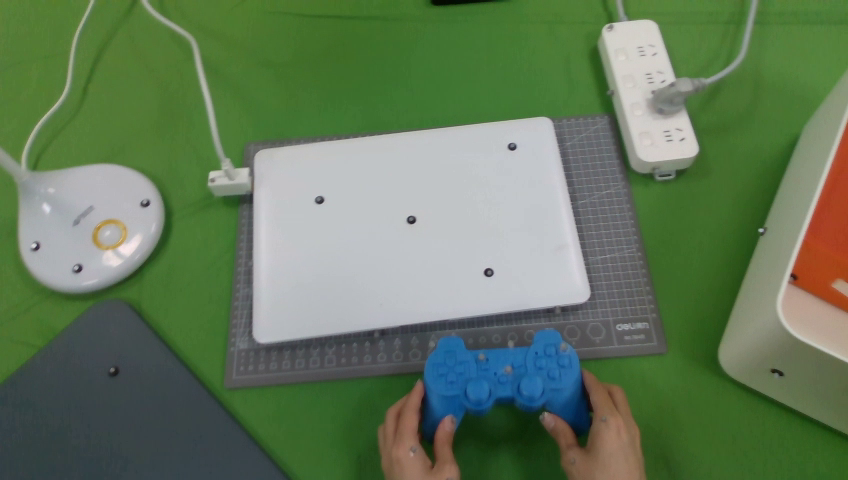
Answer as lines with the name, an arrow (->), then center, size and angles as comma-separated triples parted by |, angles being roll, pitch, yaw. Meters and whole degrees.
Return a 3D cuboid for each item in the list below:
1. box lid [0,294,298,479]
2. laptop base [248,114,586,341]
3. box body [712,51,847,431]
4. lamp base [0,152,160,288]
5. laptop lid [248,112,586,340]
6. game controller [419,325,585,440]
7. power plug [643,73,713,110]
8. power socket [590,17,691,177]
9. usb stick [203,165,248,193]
box lid -> -0.296, 0.244, 0.573 | 0.369, 0.015, 0.263 | 39, 72, 17
laptop base -> -0.018, -0.021, 0.677 | 0.354, 0.023, 0.233 | -7, 69, -1
box body -> 0.461, 0.004, 0.567 | 0.253, 0.161, 0.362 | 26, 69, 13
lamp base -> -0.396, -0.057, 0.621 | 0.178, 0.182, 0.160 | 20, 67, 14
laptop lid -> -0.018, -0.024, 0.666 | 0.357, 0.013, 0.239 | -6, 68, 0
game controller -> 0.070, 0.130, 0.566 | 0.155, 0.052, 0.096 | -4, 62, 0
power plug -> 0.290, -0.165, 0.699 | 0.072, 0.053, 0.035 | 4, 64, 3
power socket -> 0.258, -0.181, 0.732 | 0.072, 0.033, 0.225 | -6, 65, -2
usb stick -> -0.219, -0.070, 0.694 | 0.059, 0.027, 0.021 | -3, 59, -3
